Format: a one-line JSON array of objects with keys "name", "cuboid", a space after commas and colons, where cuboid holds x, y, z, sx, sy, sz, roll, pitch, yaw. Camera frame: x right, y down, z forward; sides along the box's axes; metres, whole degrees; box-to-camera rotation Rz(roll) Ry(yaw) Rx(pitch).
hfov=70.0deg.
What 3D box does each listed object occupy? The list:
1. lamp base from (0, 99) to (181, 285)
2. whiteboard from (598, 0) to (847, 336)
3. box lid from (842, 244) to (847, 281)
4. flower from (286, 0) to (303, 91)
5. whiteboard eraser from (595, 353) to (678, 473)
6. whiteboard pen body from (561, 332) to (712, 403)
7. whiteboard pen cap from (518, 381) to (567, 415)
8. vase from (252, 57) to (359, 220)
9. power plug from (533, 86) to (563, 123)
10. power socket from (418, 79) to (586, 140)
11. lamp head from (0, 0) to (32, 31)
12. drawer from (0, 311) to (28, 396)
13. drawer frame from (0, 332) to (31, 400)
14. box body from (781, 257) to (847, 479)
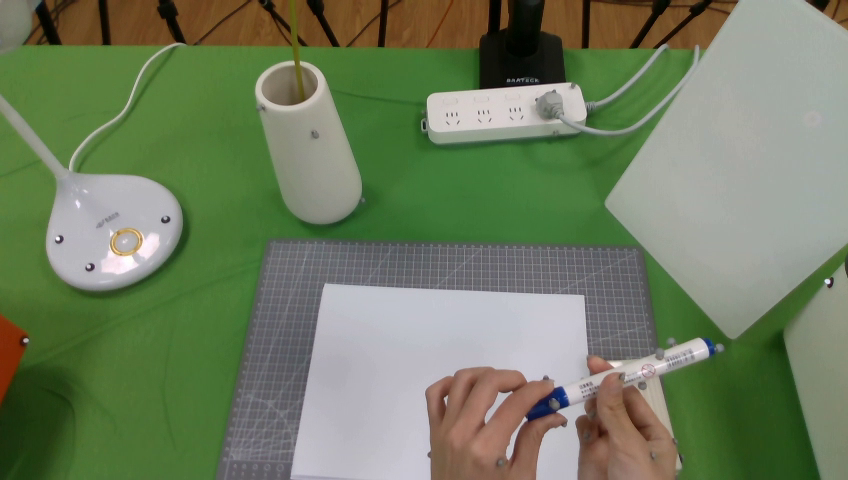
[{"name": "lamp base", "cuboid": [-0.389, -0.063, 0.674, 0.178, 0.182, 0.160, 31, 65, 21]}, {"name": "whiteboard", "cuboid": [0.366, -0.085, 0.628, 0.144, 0.307, 0.215, -18, 58, -30]}, {"name": "box lid", "cuboid": [0.490, 0.152, 0.447, 0.263, 0.015, 0.368, 1, 61, 2]}, {"name": "flower", "cuboid": [-0.128, -0.164, 0.619, 0.038, 0.365, 0.043, -9, 42, -12]}, {"name": "whiteboard eraser", "cuboid": [0.208, 0.169, 0.599, 0.055, 0.042, 0.111, -3, 60, -2]}, {"name": "whiteboard pen body", "cuboid": [0.141, 0.095, 0.438, 0.141, 0.017, 0.017, -19, 60, -4]}, {"name": "whiteboard pen cap", "cuboid": [0.085, 0.112, 0.434, 0.033, 0.018, 0.018, -20, 60, -1]}, {"name": "vase", "cuboid": [-0.133, -0.107, 0.682, 0.098, 0.202, 0.097, -1, 59, 3]}, {"name": "power plug", "cuboid": [0.157, -0.166, 0.776, 0.035, 0.053, 0.072, 5, 62, 5]}, {"name": "power socket", "cuboid": [0.105, -0.175, 0.810, 0.227, 0.033, 0.071, -4, 61, -1]}, {"name": "lamp head", "cuboid": [-0.350, -0.204, 0.419, 0.124, 0.112, 0.112, 42, 63, -19]}, {"name": "drawer", "cuboid": [-0.519, 0.152, 0.559, 0.211, 0.074, 0.193, 4, 61, 4]}, {"name": "drawer frame", "cuboid": [-0.525, 0.154, 0.560, 0.213, 0.083, 0.200, 4, 61, 2]}, {"name": "box body", "cuboid": [0.492, 0.192, 0.510, 0.254, 0.162, 0.361, 0, 60, 2]}]
